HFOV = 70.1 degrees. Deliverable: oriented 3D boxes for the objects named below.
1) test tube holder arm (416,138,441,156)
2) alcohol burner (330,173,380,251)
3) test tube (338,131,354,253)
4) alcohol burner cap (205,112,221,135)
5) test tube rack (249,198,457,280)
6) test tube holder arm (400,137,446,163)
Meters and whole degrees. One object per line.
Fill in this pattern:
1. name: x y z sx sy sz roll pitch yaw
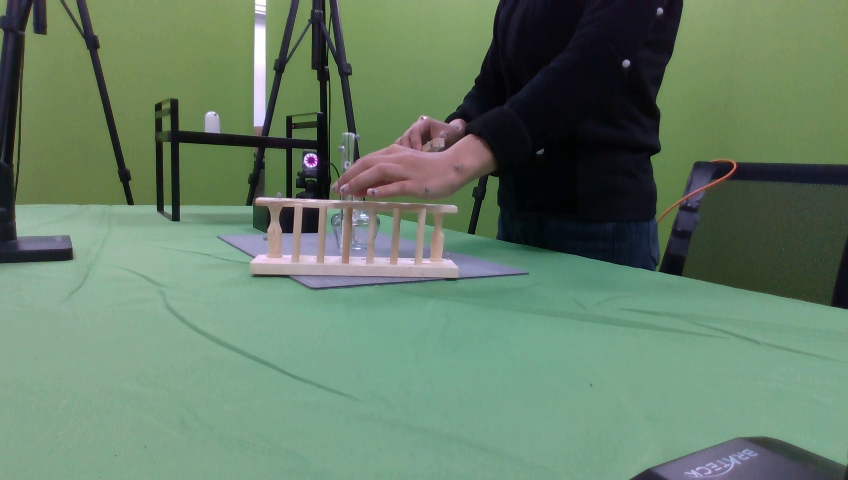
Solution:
1. test tube holder arm: 0.006 -0.141 0.923 0.010 0.015 0.087 -14 4 -18
2. alcohol burner: -0.107 -0.044 0.938 0.078 0.119 0.078 1 6 0
3. test tube: -0.096 -0.057 0.743 0.017 0.150 0.017 2 4 0
4. alcohol burner cap: -0.443 -0.245 1.270 0.034 0.048 0.034 3 8 0
5. test tube rack: -0.082 -0.002 0.732 0.243 0.085 0.066 2 8 -7
6. test tube holder arm: -0.005 -0.141 0.967 0.013 0.015 0.178 -14 4 -20
